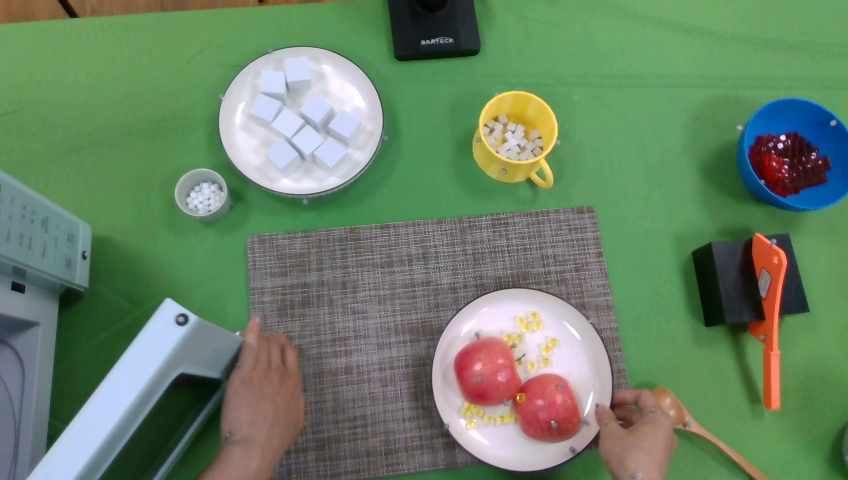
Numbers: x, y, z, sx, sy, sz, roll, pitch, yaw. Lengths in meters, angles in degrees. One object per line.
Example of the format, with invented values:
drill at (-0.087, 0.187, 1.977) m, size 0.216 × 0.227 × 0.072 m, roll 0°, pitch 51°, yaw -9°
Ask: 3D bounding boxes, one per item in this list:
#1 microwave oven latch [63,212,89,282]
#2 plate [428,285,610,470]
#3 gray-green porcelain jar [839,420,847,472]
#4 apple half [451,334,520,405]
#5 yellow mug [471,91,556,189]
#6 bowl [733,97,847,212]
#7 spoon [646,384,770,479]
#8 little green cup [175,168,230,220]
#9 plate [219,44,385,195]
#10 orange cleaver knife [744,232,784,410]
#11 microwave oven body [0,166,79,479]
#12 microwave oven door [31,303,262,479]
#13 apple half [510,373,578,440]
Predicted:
microwave oven latch at (-0.412, 0.009, 0.707) m, size 0.030 × 0.029 × 0.079 m, roll 0°, pitch 76°, yaw -4°
plate at (0.108, 0.158, 0.706) m, size 0.209 × 0.038 × 0.208 m, roll 0°, pitch 77°, yaw 1°
gray-green porcelain jar at (0.554, 0.243, 0.686) m, size 0.106 × 0.127 × 0.105 m, roll 1°, pitch 75°, yaw -3°
apple half at (0.069, 0.149, 0.693) m, size 0.074 × 0.053 × 0.080 m, roll -13°, pitch 77°, yaw 1°
yellow mug at (0.123, -0.120, 0.781) m, size 0.100 × 0.064 × 0.130 m, roll -33°, pitch 81°, yaw -12°
bowl at (0.466, -0.100, 0.792) m, size 0.151 × 0.077 × 0.150 m, roll 1°, pitch 76°, yaw -3°
spoon at (0.344, 0.241, 0.726) m, size 0.193 × 0.022 × 0.041 m, roll 37°, pitch 59°, yaw 6°
little green cup at (-0.271, -0.054, 0.750) m, size 0.061 × 0.039 × 0.061 m, roll 1°, pitch 76°, yaw -5°
plate at (-0.155, -0.153, 0.785) m, size 0.208 × 0.039 × 0.206 m, roll 1°, pitch 76°, yaw -3°
orange cleaver knife at (0.410, 0.098, 0.736) m, size 0.012 × 0.077 × 0.212 m, roll -4°, pitch 99°, yaw -1°
microwave oven body at (-0.545, 0.160, 0.560) m, size 0.326 × 0.261 × 0.439 m, roll -2°, pitch 76°, yaw -5°
microwave oven door at (-0.295, 0.224, 0.556) m, size 0.039 × 0.245 × 0.355 m, roll 33°, pitch 76°, yaw 7°
apple half at (0.138, 0.191, 0.690) m, size 0.081 × 0.033 × 0.081 m, roll -1°, pitch 73°, yaw 3°
